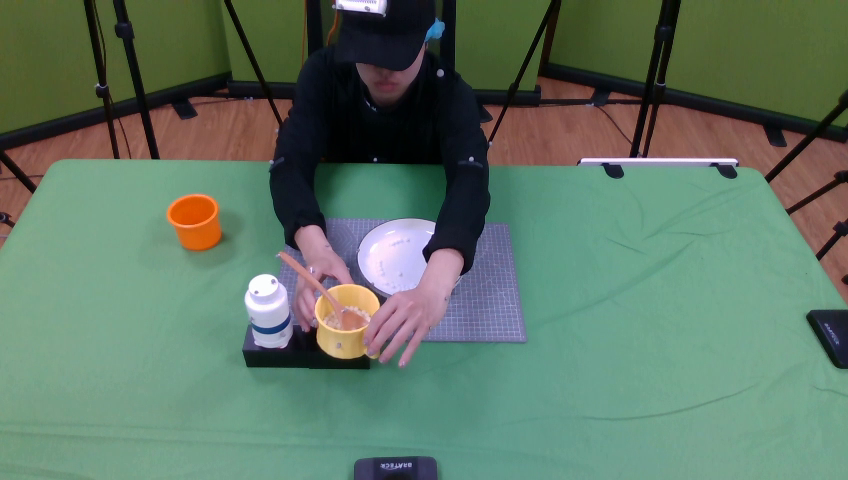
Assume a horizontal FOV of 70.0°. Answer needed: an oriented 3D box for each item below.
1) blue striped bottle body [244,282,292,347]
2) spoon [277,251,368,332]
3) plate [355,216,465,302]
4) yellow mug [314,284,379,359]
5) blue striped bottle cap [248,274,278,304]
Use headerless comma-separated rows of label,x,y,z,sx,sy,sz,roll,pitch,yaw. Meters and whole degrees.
blue striped bottle body,-0.241,0.108,0.937,0.063,0.121,0.062,2,46,-2
spoon,-0.156,0.084,0.945,0.194,0.021,0.041,47,53,-4
plate,-0.026,0.039,1.144,0.208,0.039,0.206,2,46,-2
yellow mug,-0.110,0.135,0.942,0.100,0.064,0.130,-30,54,-30
blue striped bottle cap,-0.239,0.072,0.900,0.044,0.021,0.044,5,46,-4
